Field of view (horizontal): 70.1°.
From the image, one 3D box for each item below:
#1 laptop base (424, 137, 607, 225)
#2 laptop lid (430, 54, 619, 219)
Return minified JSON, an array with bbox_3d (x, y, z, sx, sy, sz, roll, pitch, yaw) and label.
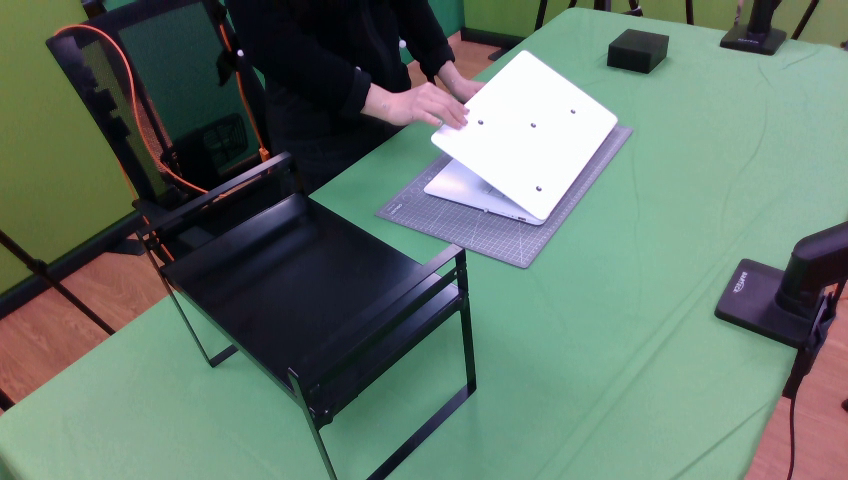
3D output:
[{"bbox_3d":[0.187,-0.156,1.131,0.234,0.023,0.355,16,46,29],"label":"laptop base"},{"bbox_3d":[0.193,-0.202,1.081,0.241,0.013,0.357,38,53,8],"label":"laptop lid"}]
